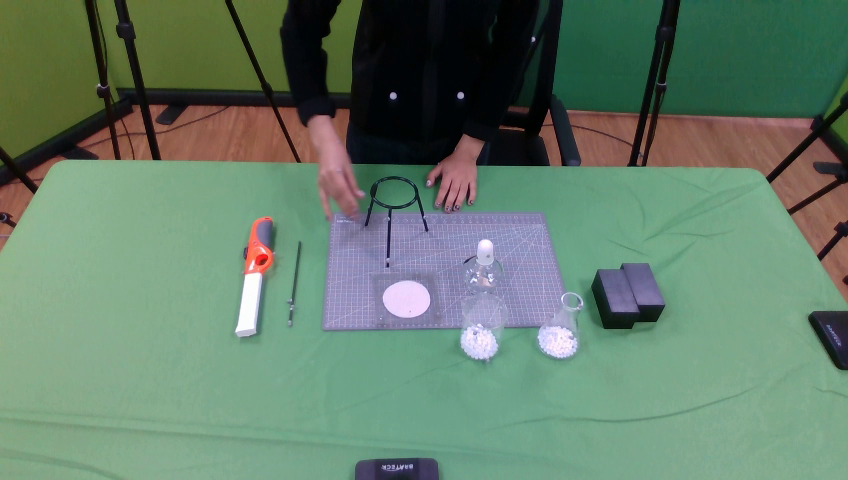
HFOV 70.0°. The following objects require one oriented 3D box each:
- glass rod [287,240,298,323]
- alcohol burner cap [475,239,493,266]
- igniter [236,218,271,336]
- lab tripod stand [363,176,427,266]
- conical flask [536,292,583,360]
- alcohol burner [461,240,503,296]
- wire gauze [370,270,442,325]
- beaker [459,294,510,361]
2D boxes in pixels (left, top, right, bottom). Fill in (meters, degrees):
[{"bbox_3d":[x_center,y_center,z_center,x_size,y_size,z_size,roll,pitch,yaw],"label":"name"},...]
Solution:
[{"bbox_3d":[-0.242,0.072,1.119,0.008,0.008,0.198,-1,47,-5],"label":"glass rod"},{"bbox_3d":[0.107,0.020,1.072,0.034,0.048,0.033,-2,46,2],"label":"alcohol burner cap"},{"bbox_3d":[-0.312,0.058,1.115,0.057,0.025,0.274,-9,46,2],"label":"igniter"},{"bbox_3d":[-0.057,-0.047,1.159,0.148,0.132,0.147,3,44,-2],"label":"lab tripod stand"},{"bbox_3d":[0.234,0.139,1.015,0.075,0.122,0.075,2,46,-2],"label":"conical flask"},{"bbox_3d":[0.107,0.045,1.098,0.078,0.120,0.077,1,44,-1],"label":"alcohol burner"},{"bbox_3d":[-0.035,0.105,1.103,0.125,0.011,0.120,-3,46,-5],"label":"wire gauze"},{"bbox_3d":[0.095,0.147,1.012,0.083,0.101,0.074,26,49,21],"label":"beaker"}]
